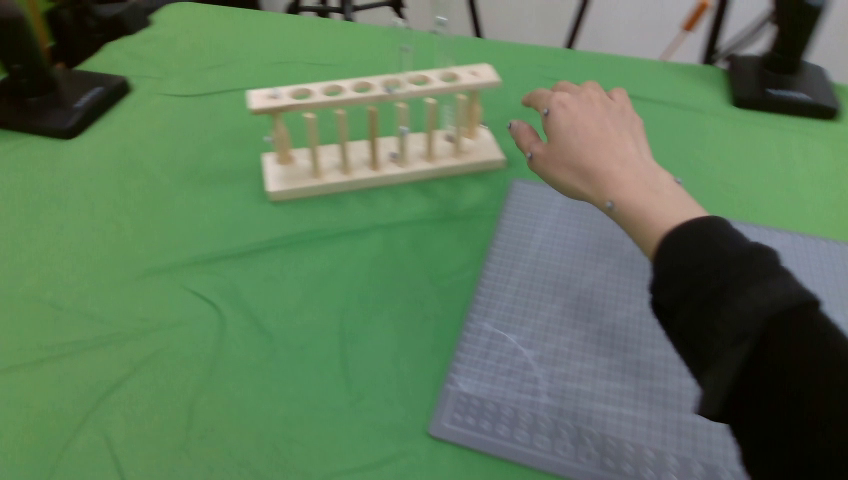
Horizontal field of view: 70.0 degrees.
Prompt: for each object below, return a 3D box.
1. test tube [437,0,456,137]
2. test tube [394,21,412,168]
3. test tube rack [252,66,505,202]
[{"bbox_3d":[0.023,-0.165,0.596,0.017,0.151,0.017,-2,46,2],"label":"test tube"},{"bbox_3d":[-0.020,-0.131,0.567,0.017,0.152,0.017,1,44,-1],"label":"test tube"},{"bbox_3d":[-0.040,-0.108,0.607,0.243,0.086,0.066,-9,45,-11],"label":"test tube rack"}]
